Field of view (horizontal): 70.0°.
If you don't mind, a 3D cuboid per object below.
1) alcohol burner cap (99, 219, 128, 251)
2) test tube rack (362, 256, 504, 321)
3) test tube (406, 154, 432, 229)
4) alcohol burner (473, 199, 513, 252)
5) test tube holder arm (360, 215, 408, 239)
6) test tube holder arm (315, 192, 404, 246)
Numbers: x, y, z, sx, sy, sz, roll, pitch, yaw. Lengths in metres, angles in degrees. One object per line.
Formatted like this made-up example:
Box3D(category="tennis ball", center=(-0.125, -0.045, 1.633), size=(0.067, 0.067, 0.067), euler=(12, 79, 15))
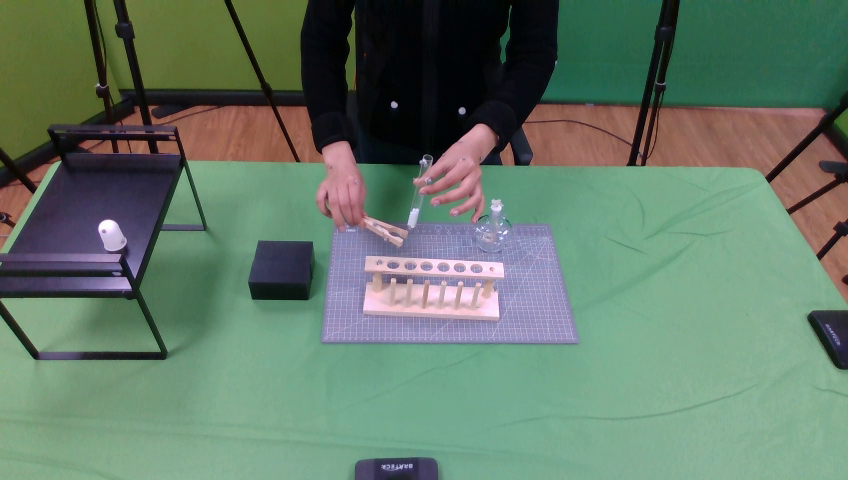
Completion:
Box3D(category="alcohol burner cap", center=(-0.467, -0.010, 0.907), size=(0.034, 0.048, 0.033), euler=(2, 47, -2))
Box3D(category="test tube rack", center=(0.015, 0.086, 1.069), size=(0.242, 0.085, 0.066), euler=(3, 46, -2))
Box3D(category="test tube", center=(-0.008, -0.072, 0.945), size=(0.017, 0.151, 0.017), euler=(8, 46, -8))
Box3D(category="alcohol burner", center=(0.135, -0.034, 1.174), size=(0.078, 0.120, 0.077), euler=(1, 47, -1))
Box3D(category="test tube holder arm", center=(-0.071, -0.023, 1.039), size=(0.088, 0.015, 0.010), euler=(19, 47, 3))
Box3D(category="test tube holder arm", center=(-0.113, -0.038, 1.042), size=(0.178, 0.015, 0.013), euler=(28, 47, 11))
